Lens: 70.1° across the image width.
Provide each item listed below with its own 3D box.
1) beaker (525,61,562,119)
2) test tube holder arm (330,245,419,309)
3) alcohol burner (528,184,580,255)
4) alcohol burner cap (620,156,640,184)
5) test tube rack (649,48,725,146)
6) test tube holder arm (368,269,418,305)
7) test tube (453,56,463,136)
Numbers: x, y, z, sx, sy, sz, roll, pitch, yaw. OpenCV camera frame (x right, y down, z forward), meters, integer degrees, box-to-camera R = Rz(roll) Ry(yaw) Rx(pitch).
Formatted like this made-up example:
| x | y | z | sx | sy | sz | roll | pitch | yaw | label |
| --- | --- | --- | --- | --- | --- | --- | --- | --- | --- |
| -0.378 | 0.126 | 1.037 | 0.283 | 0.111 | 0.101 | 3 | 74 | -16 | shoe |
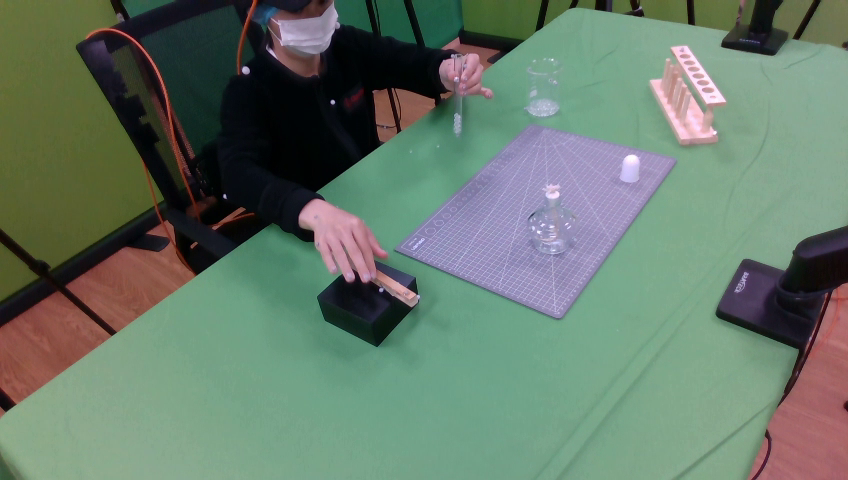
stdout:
| x | y | z | sx | sy | sz | roll | pitch | yaw | label |
| --- | --- | --- | --- | --- | --- | --- | --- | --- | --- |
| 0.248 | -0.308 | 1.245 | 0.073 | 0.101 | 0.084 | 29 | 52 | 36 | beaker |
| -0.074 | 0.049 | 0.857 | 0.177 | 0.013 | 0.015 | 29 | 54 | 36 | test tube holder arm |
| 0.196 | -0.036 | 0.911 | 0.078 | 0.119 | 0.077 | -6 | 41 | 5 | alcohol burner |
| 0.358 | -0.124 | 1.047 | 0.034 | 0.048 | 0.033 | -4 | 40 | 4 | alcohol burner cap |
| 0.508 | -0.285 | 1.186 | 0.067 | 0.085 | 0.241 | -4 | 40 | 6 | test tube rack |
| -0.043 | 0.063 | 0.827 | 0.087 | 0.010 | 0.015 | 29 | 53 | 37 | test tube holder arm |
| 0.058 | -0.247 | 1.046 | 0.017 | 0.151 | 0.017 | -1 | 42 | 1 | test tube |
